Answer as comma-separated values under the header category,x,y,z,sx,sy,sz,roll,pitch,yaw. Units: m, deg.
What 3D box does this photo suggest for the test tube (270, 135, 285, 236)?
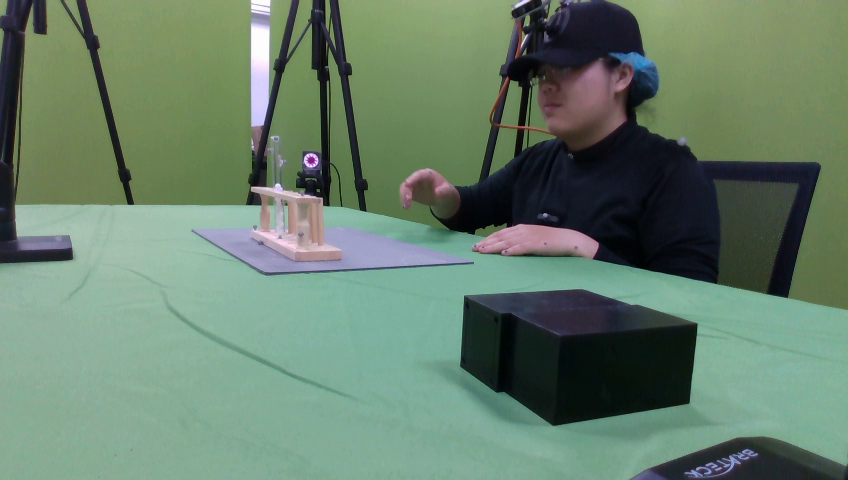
category,x,y,z,sx,sy,sz,roll,pitch,yaw
test tube,-0.218,-0.081,0.904,0.017,0.150,0.017,-2,4,0

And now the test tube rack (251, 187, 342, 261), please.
category,x,y,z,sx,sy,sz,roll,pitch,yaw
test tube rack,-0.196,-0.030,0.902,0.067,0.085,0.241,-2,8,-29
